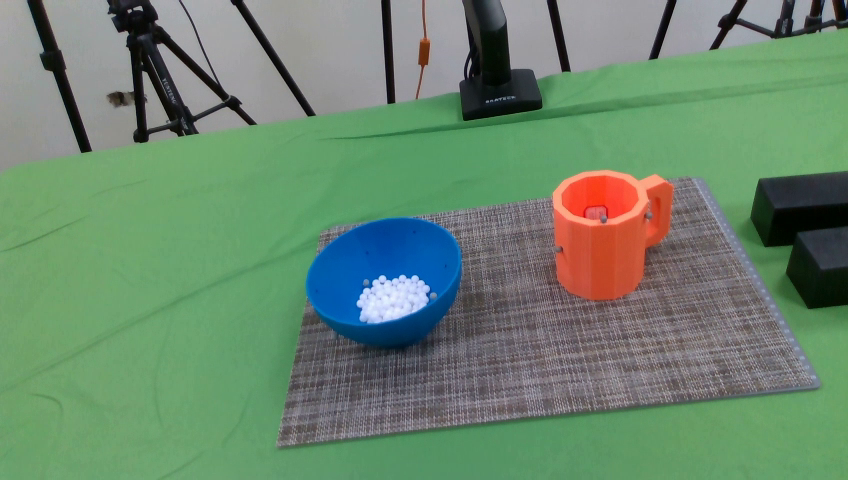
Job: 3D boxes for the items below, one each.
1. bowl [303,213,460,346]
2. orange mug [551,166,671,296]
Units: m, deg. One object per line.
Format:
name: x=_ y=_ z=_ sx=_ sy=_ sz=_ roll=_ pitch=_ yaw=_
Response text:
bowl: x=-0.033 y=0.050 z=0.592 sx=0.151 sy=0.077 sz=0.150 roll=-8 pitch=40 yaw=7
orange mug: x=0.185 y=-0.017 z=0.595 sx=0.126 sy=0.102 sz=0.082 roll=-26 pitch=41 yaw=-9
